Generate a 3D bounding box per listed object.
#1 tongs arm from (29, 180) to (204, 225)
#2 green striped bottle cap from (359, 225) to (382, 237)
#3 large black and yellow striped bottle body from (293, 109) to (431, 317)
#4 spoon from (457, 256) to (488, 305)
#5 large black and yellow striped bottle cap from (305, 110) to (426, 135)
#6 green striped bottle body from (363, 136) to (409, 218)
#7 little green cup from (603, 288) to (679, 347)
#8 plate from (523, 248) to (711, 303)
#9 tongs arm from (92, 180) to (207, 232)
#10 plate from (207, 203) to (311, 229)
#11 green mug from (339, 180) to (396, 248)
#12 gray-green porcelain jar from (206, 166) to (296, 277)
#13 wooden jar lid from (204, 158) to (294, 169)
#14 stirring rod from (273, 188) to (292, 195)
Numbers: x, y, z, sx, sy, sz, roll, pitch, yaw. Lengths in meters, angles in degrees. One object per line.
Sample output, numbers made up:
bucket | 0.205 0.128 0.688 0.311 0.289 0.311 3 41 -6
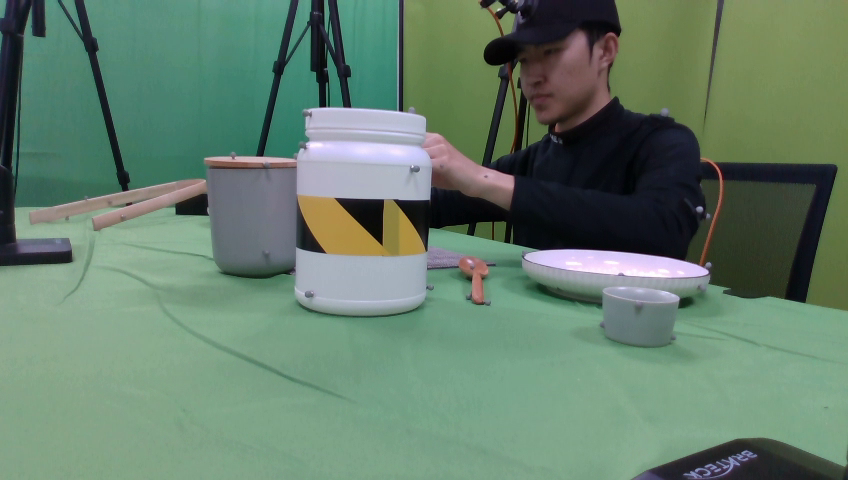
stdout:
tongs arm | -0.609 -0.083 1.245 0.050 0.026 0.386 5 16 23
green striped bottle cap | -0.101 -0.016 1.138 0.044 0.020 0.044 -2 8 1
large black and yellow striped bottle body | -0.060 -0.028 0.584 0.131 0.184 0.130 2 7 0
spoon | 0.059 0.044 0.696 0.041 0.021 0.193 21 7 0
large black and yellow striped bottle cap | -0.055 -0.110 0.574 0.115 0.019 0.115 1 7 0
green striped bottle body | -0.055 -0.097 0.889 0.063 0.119 0.063 0 -34 1
little green cup | 0.180 0.064 0.505 0.061 0.038 0.061 2 7 0
plate | 0.219 0.041 0.706 0.209 0.038 0.209 2 7 0
tongs arm | -0.534 -0.076 1.221 0.028 0.028 0.388 -2 15 12
plate | -0.342 -0.050 1.259 0.208 0.039 0.207 2 7 0
green mug | -0.098 -0.045 0.996 0.093 0.105 0.125 -1 8 -22
gray-green porcelain jar | -0.201 -0.024 0.724 0.106 0.126 0.106 -1 9 1
wooden jar lid | -0.202 -0.086 0.714 0.108 0.020 0.108 3 11 0
stirring rod | -0.354 -0.122 1.518 0.006 0.014 0.176 2 7 1
